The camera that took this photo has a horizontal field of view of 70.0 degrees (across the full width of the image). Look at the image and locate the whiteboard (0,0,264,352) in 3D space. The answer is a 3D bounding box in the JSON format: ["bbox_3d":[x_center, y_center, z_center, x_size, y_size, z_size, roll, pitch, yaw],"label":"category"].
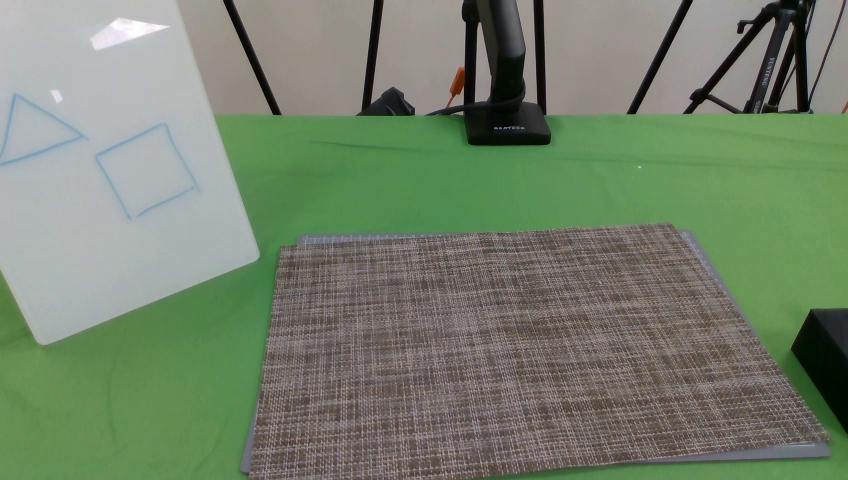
[{"bbox_3d":[-0.325,-0.089,0.597,0.217,0.307,0.142,-25,24,-29],"label":"whiteboard"}]
